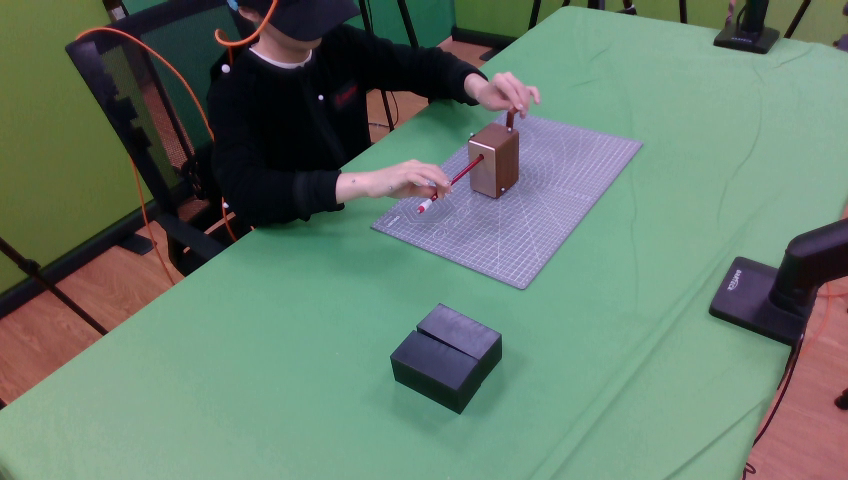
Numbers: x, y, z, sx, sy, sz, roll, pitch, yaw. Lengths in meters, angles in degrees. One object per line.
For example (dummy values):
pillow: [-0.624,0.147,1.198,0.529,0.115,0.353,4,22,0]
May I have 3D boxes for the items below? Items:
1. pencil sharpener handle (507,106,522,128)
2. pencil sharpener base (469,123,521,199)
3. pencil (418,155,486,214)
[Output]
pencil sharpener handle: [0.156,-0.198,1.049,0.035,0.068,0.031,30,52,27]
pencil sharpener base: [0.126,-0.138,1.050,0.061,0.107,0.077,25,50,33]
pencil: [0.055,-0.097,0.973,0.012,0.012,0.194,25,52,33]
